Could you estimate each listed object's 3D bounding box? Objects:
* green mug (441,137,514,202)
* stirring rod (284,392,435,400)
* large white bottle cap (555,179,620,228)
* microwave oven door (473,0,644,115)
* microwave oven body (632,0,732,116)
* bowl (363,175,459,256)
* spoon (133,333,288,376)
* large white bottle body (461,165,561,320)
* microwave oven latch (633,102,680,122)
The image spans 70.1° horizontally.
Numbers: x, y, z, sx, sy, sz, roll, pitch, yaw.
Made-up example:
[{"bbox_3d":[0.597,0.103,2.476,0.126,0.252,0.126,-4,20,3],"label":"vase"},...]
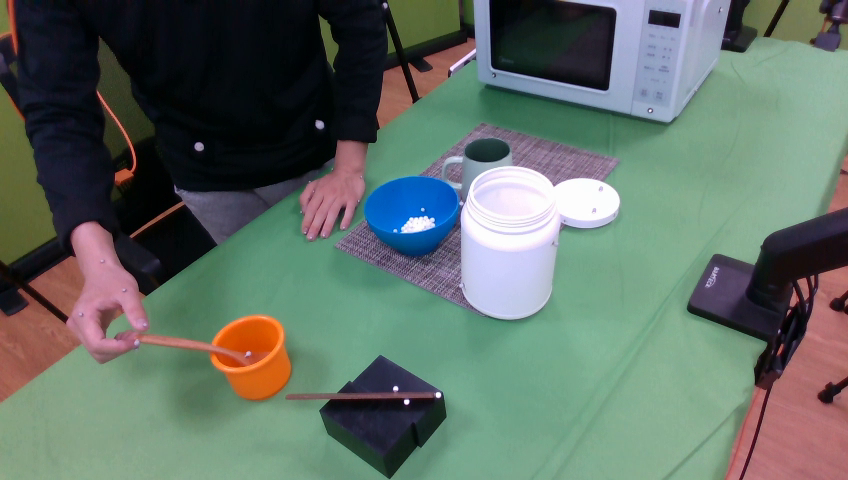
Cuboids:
[{"bbox_3d":[0.091,-0.108,1.012,0.125,0.105,0.092,2,42,11],"label":"green mug"},{"bbox_3d":[-0.075,0.180,0.698,0.176,0.006,0.014,-2,6,6],"label":"stirring rod"},{"bbox_3d":[0.265,-0.062,1.001,0.115,0.018,0.114,-3,41,3],"label":"large white bottle cap"},{"bbox_3d":[0.257,-0.396,1.199,0.353,0.245,0.039,21,48,29],"label":"microwave oven door"},{"bbox_3d":[0.377,-0.462,1.267,0.438,0.261,0.327,21,48,30],"label":"microwave oven body"},{"bbox_3d":[-0.017,-0.028,0.955,0.151,0.077,0.150,-4,40,4],"label":"bowl"},{"bbox_3d":[-0.257,0.137,0.747,0.021,0.195,0.041,-47,40,23],"label":"spoon"},{"bbox_3d":[0.115,0.004,0.815,0.130,0.185,0.130,-2,43,2],"label":"large white bottle body"},{"bbox_3d":[0.444,-0.249,1.157,0.078,0.029,0.030,21,49,30],"label":"microwave oven latch"}]
